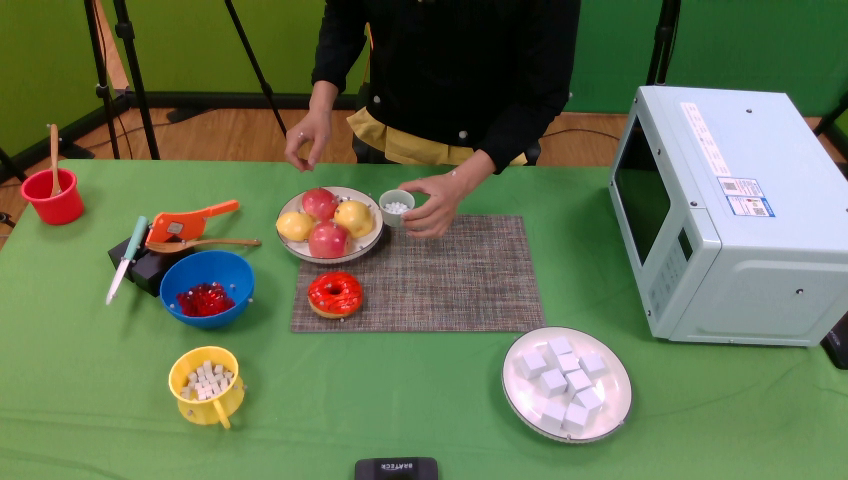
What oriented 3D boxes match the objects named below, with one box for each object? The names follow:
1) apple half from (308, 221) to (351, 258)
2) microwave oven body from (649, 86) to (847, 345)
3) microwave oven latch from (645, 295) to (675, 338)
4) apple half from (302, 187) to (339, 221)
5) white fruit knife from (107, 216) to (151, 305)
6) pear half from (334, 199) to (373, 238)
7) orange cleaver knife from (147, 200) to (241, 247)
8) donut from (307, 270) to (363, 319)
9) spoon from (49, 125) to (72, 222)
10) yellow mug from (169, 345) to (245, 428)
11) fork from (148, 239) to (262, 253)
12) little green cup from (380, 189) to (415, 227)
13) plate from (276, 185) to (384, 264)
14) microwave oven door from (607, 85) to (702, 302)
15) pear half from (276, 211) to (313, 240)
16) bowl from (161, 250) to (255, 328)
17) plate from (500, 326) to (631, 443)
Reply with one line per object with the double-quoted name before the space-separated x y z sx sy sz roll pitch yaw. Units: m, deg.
"apple half" -0.180 -0.005 1.150 0.074 0.053 0.080 14 43 9
"microwave oven body" 0.567 -0.053 1.118 0.326 0.261 0.439 2 45 -1
"microwave oven latch" 0.412 0.134 1.061 0.030 0.029 0.078 3 45 0
"apple half" -0.204 -0.077 1.216 0.081 0.033 0.081 18 47 -20
"white fruit knife" -0.518 0.032 1.066 0.027 0.016 0.206 -18 45 19
"pear half" -0.147 -0.059 1.210 0.076 0.056 0.109 -16 44 -25
"orange cleaver knife" -0.435 -0.033 1.157 0.012 0.077 0.211 31 26 19
"donut" -0.157 0.097 1.073 0.099 0.048 0.098 4 46 -4
"spoon" -0.717 -0.131 1.189 0.042 0.021 0.193 -3 90 -7
"yellow mug" -0.322 0.230 0.922 0.100 0.064 0.130 -24 53 -25
"fork" -0.398 0.008 1.117 0.208 0.019 0.028 -5 35 -37
"little green cup" -0.046 -0.054 1.052 0.061 0.039 0.061 2 52 -3
"plate" -0.184 -0.027 1.194 0.209 0.038 0.208 2 46 -2
"microwave oven door" 0.423 -0.094 1.140 0.039 0.245 0.353 2 46 -1
"pear half" -0.244 -0.035 1.179 0.070 0.031 0.088 42 39 1
"bowl" -0.362 0.097 1.040 0.151 0.077 0.150 2 45 -2
"plate" 0.224 0.234 0.978 0.208 0.039 0.206 2 46 -2
